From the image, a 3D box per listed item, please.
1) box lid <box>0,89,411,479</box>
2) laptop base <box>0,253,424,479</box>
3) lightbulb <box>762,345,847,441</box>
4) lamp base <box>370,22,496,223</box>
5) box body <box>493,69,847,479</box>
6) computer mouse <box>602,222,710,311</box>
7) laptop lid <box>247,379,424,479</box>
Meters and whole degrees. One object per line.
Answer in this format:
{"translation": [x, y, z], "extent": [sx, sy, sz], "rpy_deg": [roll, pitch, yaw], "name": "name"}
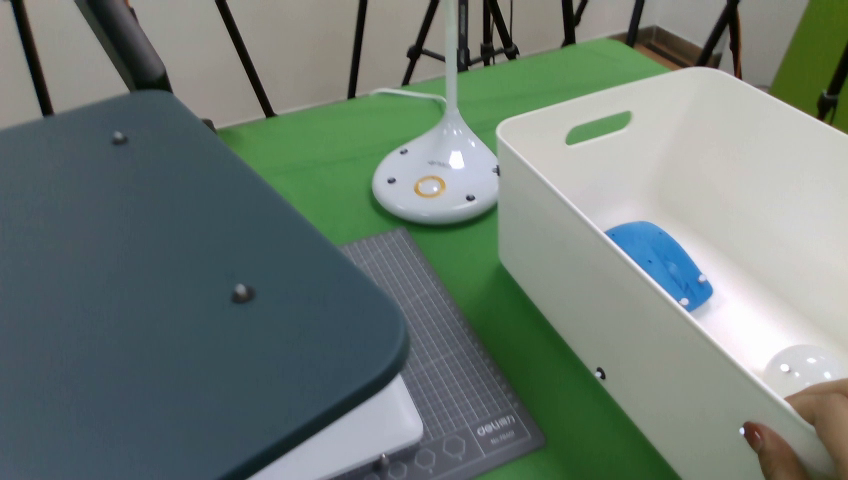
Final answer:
{"translation": [-0.208, 0.015, 0.320], "extent": [0.263, 0.015, 0.367], "rpy_deg": [-27, 44, -27], "name": "box lid"}
{"translation": [-0.203, 0.136, 0.499], "extent": [0.355, 0.023, 0.232], "rpy_deg": [-17, 46, -16], "name": "laptop base"}
{"translation": [0.308, 0.125, 0.453], "extent": [0.107, 0.060, 0.059], "rpy_deg": [41, 55, 17], "name": "lightbulb"}
{"translation": [0.015, -0.139, 0.684], "extent": [0.160, 0.182, 0.178], "rpy_deg": [5, 39, 9], "name": "lamp base"}
{"translation": [0.245, 0.023, 0.497], "extent": [0.254, 0.162, 0.359], "rpy_deg": [-19, 43, -18], "name": "box body"}
{"translation": [0.217, 0.023, 0.583], "extent": [0.063, 0.041, 0.116], "rpy_deg": [-17, 47, -20], "name": "computer mouse"}
{"translation": [-0.203, 0.128, 0.490], "extent": [0.357, 0.013, 0.239], "rpy_deg": [-16, 45, -15], "name": "laptop lid"}
